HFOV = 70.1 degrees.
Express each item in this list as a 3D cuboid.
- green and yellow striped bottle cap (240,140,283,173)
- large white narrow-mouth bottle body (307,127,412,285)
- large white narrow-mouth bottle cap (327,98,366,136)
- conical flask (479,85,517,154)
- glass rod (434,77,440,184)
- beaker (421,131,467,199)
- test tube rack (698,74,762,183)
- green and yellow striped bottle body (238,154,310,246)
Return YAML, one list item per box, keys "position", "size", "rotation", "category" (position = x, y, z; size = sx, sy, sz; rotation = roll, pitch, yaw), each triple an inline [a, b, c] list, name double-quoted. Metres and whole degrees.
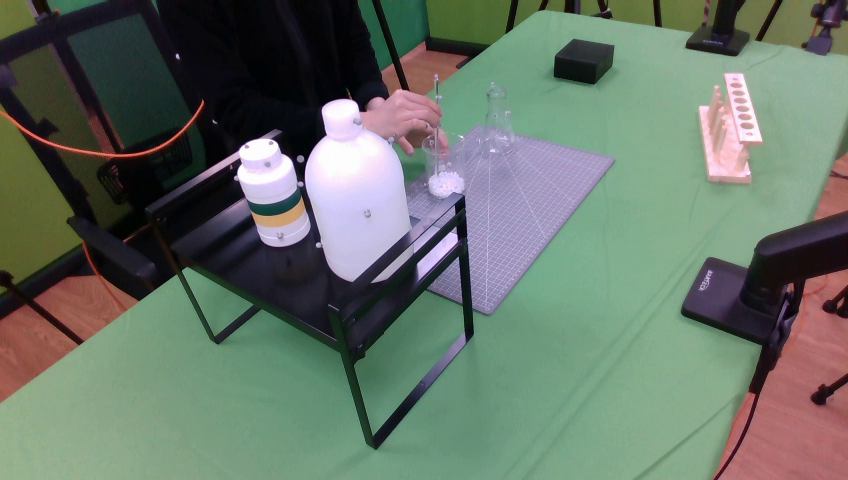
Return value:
- position: [-0.183, -0.094, 0.679]
  size: [0.045, 0.020, 0.045]
  rotation: [-4, 38, 4]
  category: "green and yellow striped bottle cap"
- position: [-0.070, -0.051, 0.638]
  size: [0.102, 0.195, 0.101]
  rotation: [-3, 40, 3]
  category: "large white narrow-mouth bottle body"
- position: [-0.075, -0.118, 0.582]
  size: [0.038, 0.024, 0.037]
  rotation: [-3, 40, 3]
  category: "large white narrow-mouth bottle cap"
- position: [0.139, -0.231, 1.145]
  size: [0.075, 0.122, 0.075]
  rotation: [-4, 40, 4]
  category: "conical flask"
- position: [0.023, -0.178, 1.013]
  size: [0.008, 0.200, 0.008]
  rotation: [-1, 39, 1]
  category: "glass rod"
- position: [0.040, -0.130, 1.060]
  size: [0.084, 0.100, 0.073]
  rotation: [-24, 44, -20]
  category: "beaker"
- position: [0.547, -0.208, 1.094]
  size: [0.066, 0.085, 0.242]
  rotation: [5, 42, 15]
  category: "test tube rack"
- position: [-0.178, -0.056, 0.714]
  size: [0.063, 0.120, 0.063]
  rotation: [-4, 40, 4]
  category: "green and yellow striped bottle body"
